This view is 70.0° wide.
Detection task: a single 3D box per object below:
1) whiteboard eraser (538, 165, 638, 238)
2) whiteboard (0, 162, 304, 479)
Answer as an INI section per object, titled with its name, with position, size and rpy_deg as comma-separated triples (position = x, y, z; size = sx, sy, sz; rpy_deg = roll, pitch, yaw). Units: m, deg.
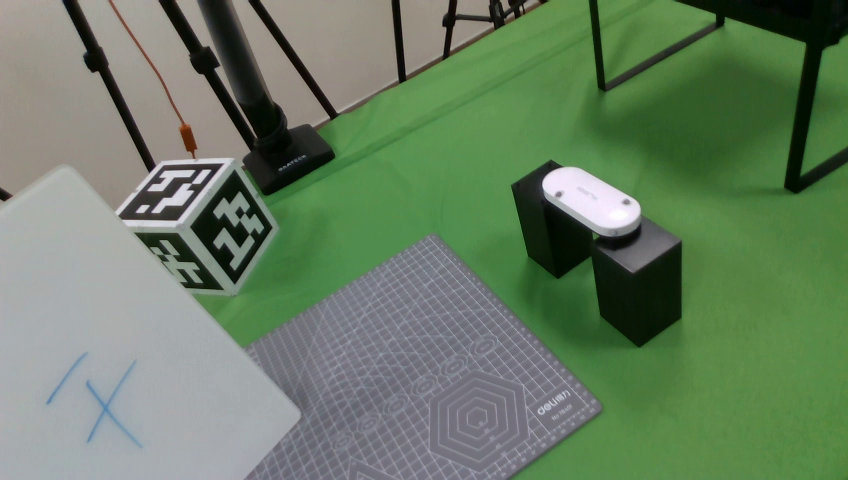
[whiteboard eraser]
position = 0.140, -0.036, 0.525
size = 0.041, 0.019, 0.100
rpy_deg = -33, 44, -13
[whiteboard]
position = -0.298, 0.120, 0.524
size = 0.217, 0.308, 0.143
rpy_deg = -46, 28, -24
